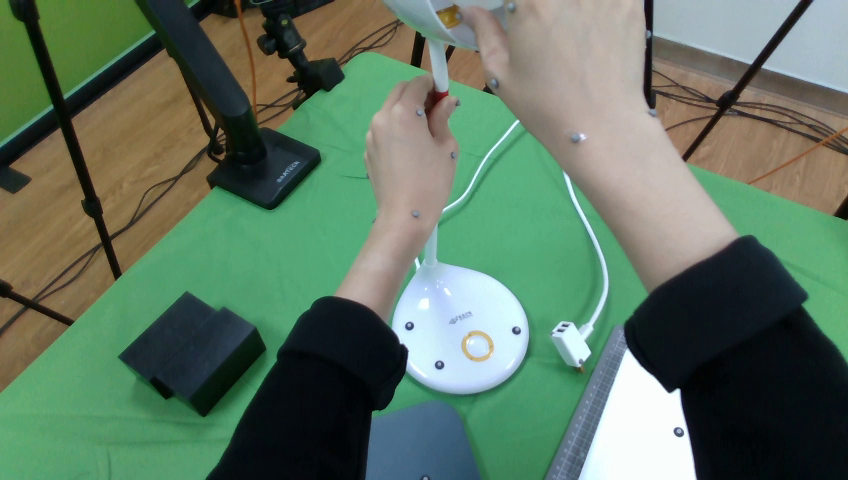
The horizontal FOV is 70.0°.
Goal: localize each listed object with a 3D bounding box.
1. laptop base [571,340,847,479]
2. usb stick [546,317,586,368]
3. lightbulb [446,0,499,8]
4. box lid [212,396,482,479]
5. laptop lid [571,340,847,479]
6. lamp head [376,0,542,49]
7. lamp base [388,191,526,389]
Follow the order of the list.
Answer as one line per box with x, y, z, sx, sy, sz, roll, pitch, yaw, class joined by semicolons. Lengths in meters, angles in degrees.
0.328;0.261;0.584;0.352;0.023;0.234;22;60;16;laptop base
0.161;0.116;0.677;0.027;0.059;0.021;-39;19;-29;usb stick
0.020;-0.178;0.378;0.059;0.060;0.106;-23;30;-15;lightbulb
-0.044;0.335;0.543;0.264;0.015;0.367;-15;56;-9;box lid
0.326;0.256;0.574;0.355;0.013;0.240;23;60;17;laptop lid
0.009;-0.187;0.408;0.112;0.113;0.122;-34;29;-21;lamp head
0.028;0.044;0.650;0.160;0.182;0.177;-33;56;-21;lamp base
